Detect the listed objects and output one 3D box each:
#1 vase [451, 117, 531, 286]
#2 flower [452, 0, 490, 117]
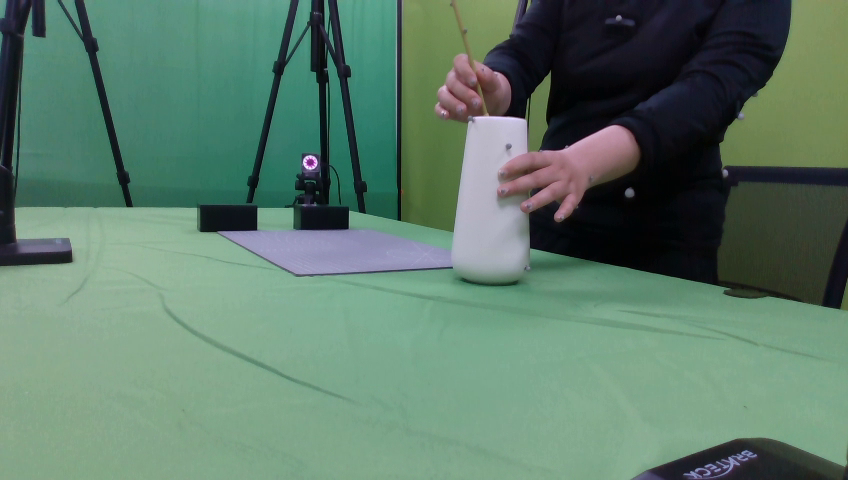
[{"bbox_3d":[0.084,-0.047,0.737,0.098,0.200,0.098,1,6,0],"label":"vase"},{"bbox_3d":[0.067,-0.189,0.735,0.044,0.361,0.038,-14,11,18],"label":"flower"}]
